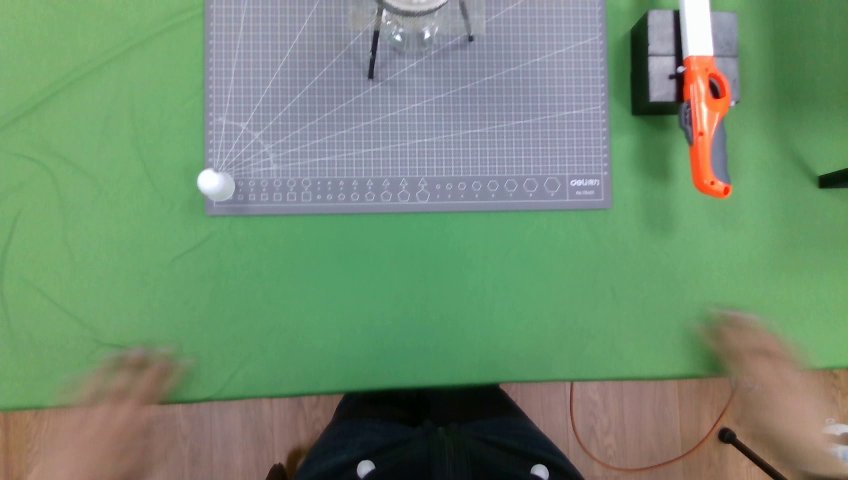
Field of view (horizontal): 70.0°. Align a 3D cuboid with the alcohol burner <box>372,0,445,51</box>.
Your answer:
[{"bbox_3d":[-0.016,-0.243,0.626,0.078,0.119,0.078,0,87,-1],"label":"alcohol burner"}]

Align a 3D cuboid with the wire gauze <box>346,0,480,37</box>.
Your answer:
[{"bbox_3d":[-0.009,-0.249,0.551,0.125,0.011,0.121,1,88,-5],"label":"wire gauze"}]

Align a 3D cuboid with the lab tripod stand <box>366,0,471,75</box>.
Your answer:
[{"bbox_3d":[-0.019,-0.248,0.616,0.148,0.131,0.148,0,86,-1],"label":"lab tripod stand"}]

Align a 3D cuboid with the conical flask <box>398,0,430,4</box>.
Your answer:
[{"bbox_3d":[-0.008,-0.254,0.492,0.075,0.122,0.075,0,84,-2],"label":"conical flask"}]

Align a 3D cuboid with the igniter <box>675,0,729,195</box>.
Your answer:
[{"bbox_3d":[0.290,-0.184,0.641,0.057,0.025,0.276,-3,85,-7],"label":"igniter"}]

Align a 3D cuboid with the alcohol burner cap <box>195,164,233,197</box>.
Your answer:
[{"bbox_3d":[-0.224,-0.064,0.638,0.034,0.048,0.034,0,84,-4],"label":"alcohol burner cap"}]
